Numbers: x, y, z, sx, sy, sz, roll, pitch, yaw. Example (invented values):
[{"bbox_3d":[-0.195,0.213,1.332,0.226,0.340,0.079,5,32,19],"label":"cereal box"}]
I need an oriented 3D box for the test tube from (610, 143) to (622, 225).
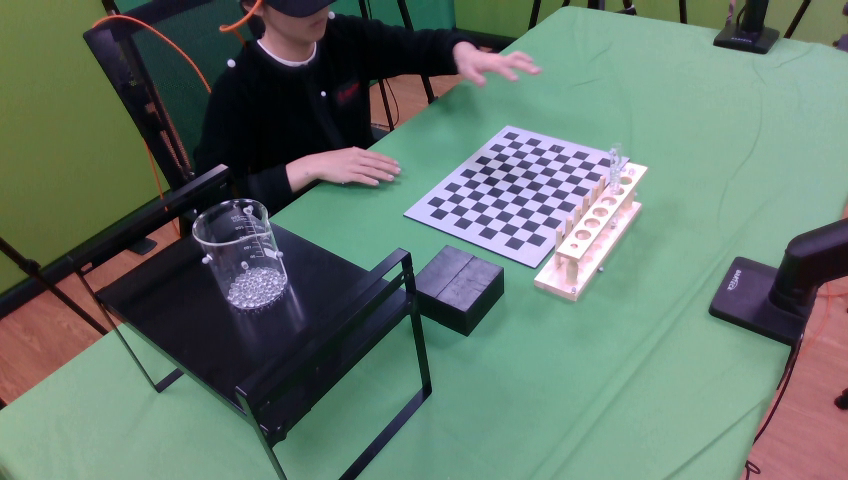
[{"bbox_3d":[0.285,-0.079,0.899,0.017,0.151,0.017,-8,42,8],"label":"test tube"}]

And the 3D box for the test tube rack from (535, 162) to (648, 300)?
[{"bbox_3d":[0.257,-0.024,0.916,0.066,0.085,0.243,22,49,30],"label":"test tube rack"}]

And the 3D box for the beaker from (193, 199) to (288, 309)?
[{"bbox_3d":[-0.188,0.018,0.646,0.083,0.101,0.074,9,43,17],"label":"beaker"}]
